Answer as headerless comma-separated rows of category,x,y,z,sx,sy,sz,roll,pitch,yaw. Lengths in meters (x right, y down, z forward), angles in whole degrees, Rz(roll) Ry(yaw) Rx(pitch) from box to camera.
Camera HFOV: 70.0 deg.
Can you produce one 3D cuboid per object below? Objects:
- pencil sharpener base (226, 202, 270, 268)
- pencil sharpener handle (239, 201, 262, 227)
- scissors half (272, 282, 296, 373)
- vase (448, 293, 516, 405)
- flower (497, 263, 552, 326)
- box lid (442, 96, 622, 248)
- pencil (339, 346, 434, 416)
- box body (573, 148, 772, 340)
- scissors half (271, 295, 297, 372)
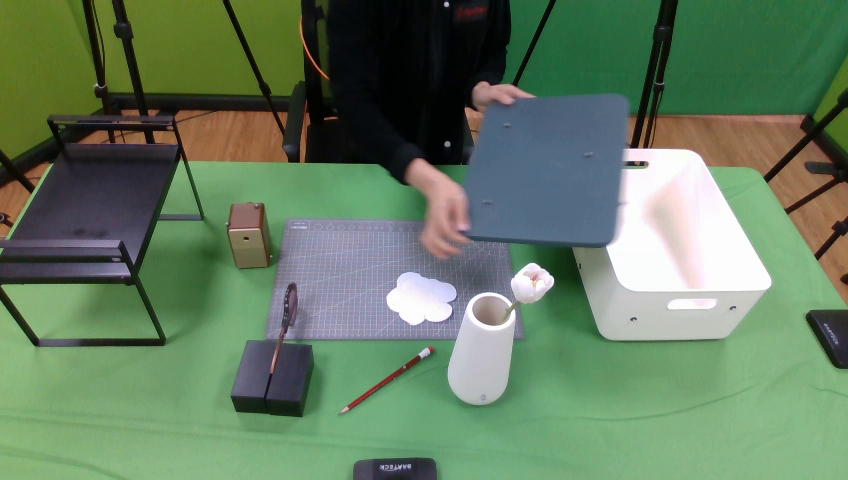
pencil sharpener base,-0.323,-0.010,1.123,0.061,0.107,0.076,-3,46,-7
pencil sharpener handle,-0.325,-0.055,1.149,0.036,0.068,0.030,-13,46,4
scissors half,-0.229,0.139,0.986,0.013,0.040,0.174,3,51,-2
vase,0.091,0.169,0.921,0.098,0.201,0.097,3,47,-3
flower,0.103,0.121,0.852,0.044,0.363,0.038,-2,64,-10
box lid,0.191,-0.129,1.025,0.263,0.015,0.369,3,48,18
pencil,-0.058,0.227,0.984,0.194,0.012,0.012,-31,56,-29
box body,0.421,0.003,1.130,0.254,0.161,0.361,0,46,-5
scissors half,-0.230,0.154,1.000,0.013,0.040,0.174,0,33,2
